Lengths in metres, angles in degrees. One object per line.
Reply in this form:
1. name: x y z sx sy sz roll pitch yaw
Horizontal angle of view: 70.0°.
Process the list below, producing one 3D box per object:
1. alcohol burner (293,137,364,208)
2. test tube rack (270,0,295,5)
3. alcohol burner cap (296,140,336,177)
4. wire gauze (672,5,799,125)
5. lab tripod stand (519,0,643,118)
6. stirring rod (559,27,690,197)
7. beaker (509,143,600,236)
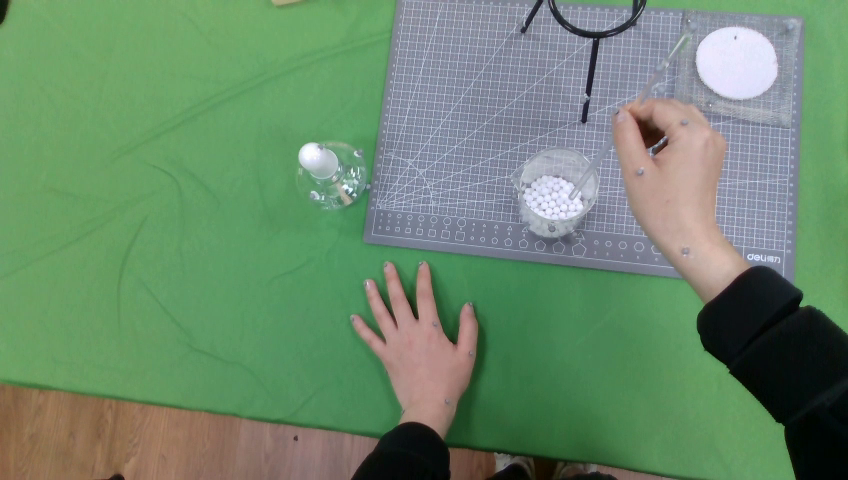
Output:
1. alcohol burner: -0.104 -0.076 0.635 0.078 0.119 0.077 -1 79 6
2. test tube rack: -0.075 -0.345 0.687 0.242 0.085 0.066 -11 80 5
3. alcohol burner cap: -0.109 -0.083 0.600 0.034 0.048 0.034 -1 84 7
4. wire gauze: 0.335 -0.192 0.652 0.125 0.011 0.121 11 82 6
5. lab tripod stand: 0.164 -0.215 0.612 0.148 0.132 0.148 -1 82 5
6. stirring rod: 0.146 -0.089 0.464 0.014 0.177 0.006 31 54 5
7. beaker: 0.127 -0.046 0.608 0.084 0.101 0.074 12 82 9
